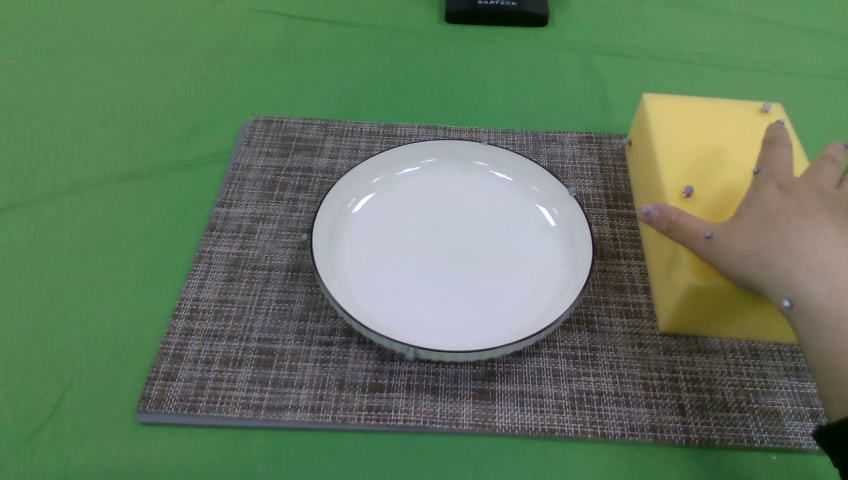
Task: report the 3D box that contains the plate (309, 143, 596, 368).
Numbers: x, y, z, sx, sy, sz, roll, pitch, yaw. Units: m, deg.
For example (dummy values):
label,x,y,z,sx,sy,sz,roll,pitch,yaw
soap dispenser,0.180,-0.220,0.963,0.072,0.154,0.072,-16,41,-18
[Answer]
label,x,y,z,sx,sy,sz,roll,pitch,yaw
plate,0.021,0.008,0.455,0.208,0.039,0.205,1,49,-1

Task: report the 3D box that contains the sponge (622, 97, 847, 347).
label,x,y,z,sx,sy,sz,roll,pitch,yaw
sponge,0.232,-0.023,0.472,0.118,0.061,0.205,4,49,2
